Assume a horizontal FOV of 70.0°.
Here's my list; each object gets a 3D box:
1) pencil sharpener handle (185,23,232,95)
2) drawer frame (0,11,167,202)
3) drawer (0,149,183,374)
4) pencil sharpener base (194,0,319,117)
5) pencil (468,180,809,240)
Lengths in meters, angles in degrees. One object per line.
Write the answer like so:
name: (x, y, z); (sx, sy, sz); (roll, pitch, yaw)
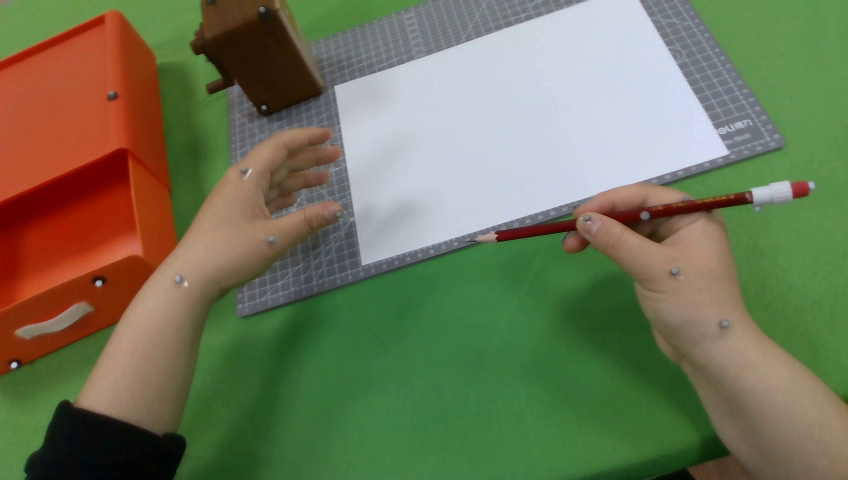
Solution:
pencil sharpener handle: (-0.207, -0.165, 0.565); (0.030, 0.068, 0.035); (-22, 54, 3)
drawer frame: (-0.373, -0.102, 0.608); (0.201, 0.083, 0.211); (-24, 57, 2)
drawer: (-0.334, -0.011, 0.548); (0.194, 0.074, 0.209); (-25, 57, 2)
pencil sharpener base: (-0.157, -0.180, 0.573); (0.076, 0.108, 0.060); (-22, 58, 3)
pencil: (0.119, -0.015, 0.362); (0.193, 0.012, 0.012); (-9, 59, 18)
